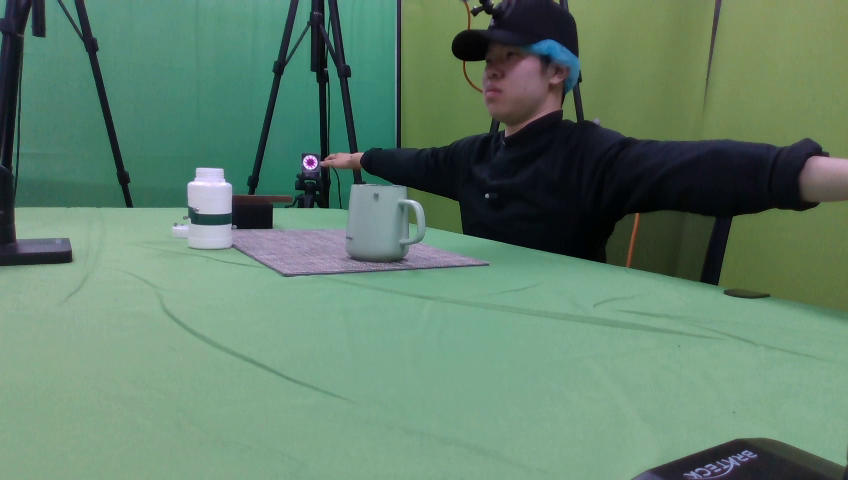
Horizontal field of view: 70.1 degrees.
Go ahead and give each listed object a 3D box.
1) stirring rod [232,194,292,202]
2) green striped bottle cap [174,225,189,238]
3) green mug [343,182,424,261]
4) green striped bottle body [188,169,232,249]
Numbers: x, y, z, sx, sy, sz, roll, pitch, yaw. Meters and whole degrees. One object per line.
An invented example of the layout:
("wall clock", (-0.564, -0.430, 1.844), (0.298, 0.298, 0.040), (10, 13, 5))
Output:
("stirring rod", (-0.353, -0.085, 1.216), (0.177, 0.014, 0.006), (-1, 12, -27))
("green striped bottle cap", (-0.404, -0.015, 1.036), (0.044, 0.020, 0.044), (-2, 8, 1))
("green mug", (-0.053, -0.026, 0.849), (0.125, 0.105, 0.093), (7, 8, 33))
("green striped bottle body", (-0.324, -0.049, 0.919), (0.063, 0.119, 0.063), (2, 8, 0))
